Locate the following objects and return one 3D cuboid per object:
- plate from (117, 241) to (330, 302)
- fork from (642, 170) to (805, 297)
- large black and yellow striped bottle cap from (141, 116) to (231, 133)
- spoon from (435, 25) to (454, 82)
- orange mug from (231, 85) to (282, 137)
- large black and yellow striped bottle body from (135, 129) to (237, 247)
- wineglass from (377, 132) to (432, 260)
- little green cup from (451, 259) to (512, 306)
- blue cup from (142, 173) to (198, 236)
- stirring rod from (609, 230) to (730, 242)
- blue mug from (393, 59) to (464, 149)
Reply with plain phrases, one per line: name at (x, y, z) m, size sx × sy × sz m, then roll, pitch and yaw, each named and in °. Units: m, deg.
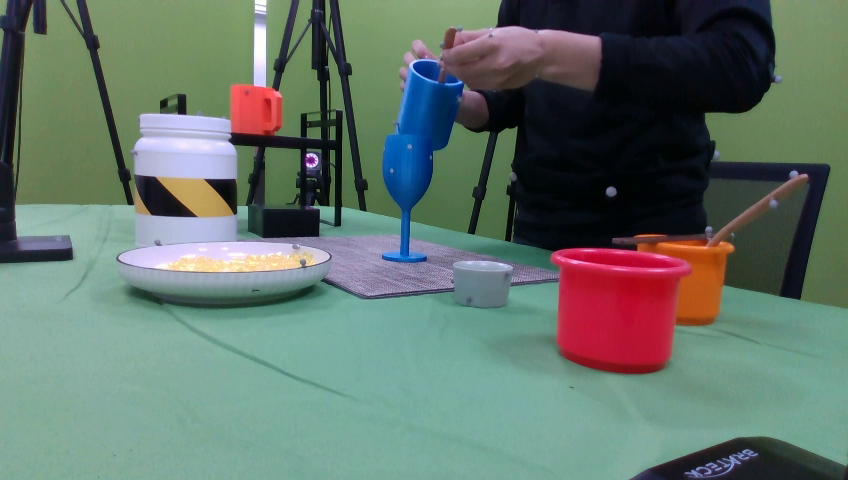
plate at (-0.203, 0.031, 0.630) m, size 0.209 × 0.038 × 0.209 m, roll 3°, pitch 7°, yaw 0°
fork at (0.261, 0.003, 0.545) m, size 0.028 × 0.018 × 0.207 m, roll 5°, pitch -37°, yaw -15°
large black and yellow striped bottle cap at (-0.324, -0.157, 0.826) m, size 0.115 × 0.019 × 0.115 m, roll 1°, pitch 7°, yaw 0°
spoon at (0.022, -0.225, 0.802) m, size 0.041 × 0.021 × 0.194 m, roll 8°, pitch -20°, yaw -1°
orange mug at (-0.335, -0.261, 1.225) m, size 0.125 × 0.100 × 0.084 m, roll 2°, pitch 6°, yaw 35°
large black and yellow striped bottle body at (-0.327, -0.074, 0.838) m, size 0.131 × 0.184 × 0.130 m, roll 2°, pitch 7°, yaw 0°
wineglass at (-0.026, -0.062, 0.841) m, size 0.074 × 0.172 × 0.073 m, roll 2°, pitch 8°, yaw 0°
little green cup at (0.057, 0.043, 0.611) m, size 0.061 × 0.038 × 0.061 m, roll 3°, pitch 7°, yaw 0°
blue cup at (-0.425, -0.060, 1.014) m, size 0.093 × 0.100 × 0.092 m, roll 4°, pitch 9°, yaw 0°
stirring rod at (0.241, -0.004, 0.582) m, size 0.177 × 0.006 × 0.014 m, roll -3°, pitch 10°, yaw -33°
blue mug at (0.000, -0.207, 0.889) m, size 0.083 × 0.106 × 0.116 m, roll -2°, pitch 39°, yaw -22°
